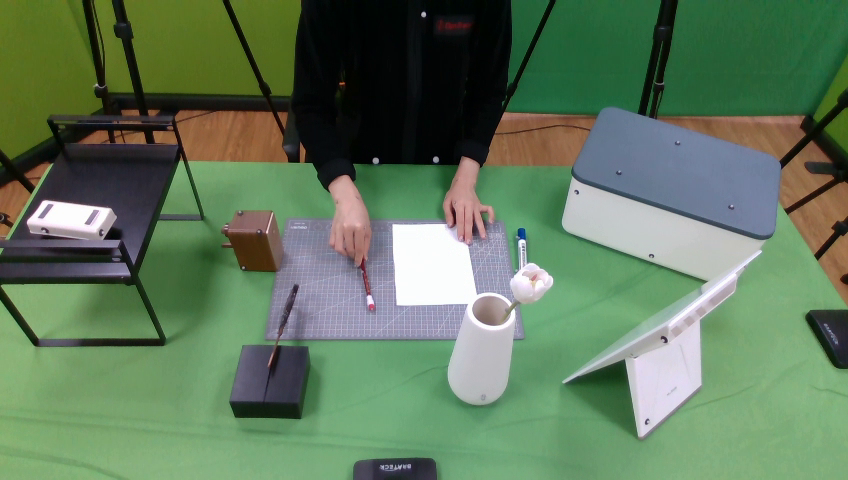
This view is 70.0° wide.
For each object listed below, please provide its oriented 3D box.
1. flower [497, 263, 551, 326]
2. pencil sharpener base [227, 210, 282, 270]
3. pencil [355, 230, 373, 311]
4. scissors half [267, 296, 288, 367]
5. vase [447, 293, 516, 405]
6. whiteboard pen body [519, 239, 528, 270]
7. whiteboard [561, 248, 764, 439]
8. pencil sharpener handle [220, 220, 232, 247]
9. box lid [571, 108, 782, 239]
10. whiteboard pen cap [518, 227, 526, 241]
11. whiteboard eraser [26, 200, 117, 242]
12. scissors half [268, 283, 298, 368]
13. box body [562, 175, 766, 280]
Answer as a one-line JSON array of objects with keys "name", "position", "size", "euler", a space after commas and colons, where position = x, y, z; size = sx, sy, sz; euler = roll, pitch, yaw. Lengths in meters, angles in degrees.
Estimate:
[{"name": "flower", "position": [0.102, 0.121, 0.852], "size": [0.044, 0.363, 0.038], "euler": [-2, 64, -10]}, {"name": "pencil sharpener base", "position": [-0.311, 0.001, 1.112], "size": [0.077, 0.107, 0.061], "euler": [1, 47, 1]}, {"name": "pencil", "position": [-0.115, 0.052, 1.134], "size": [0.012, 0.012, 0.192], "euler": [-7, 51, -11]}, {"name": "scissors half", "position": [-0.239, 0.150, 0.997], "size": [0.013, 0.040, 0.174], "euler": [24, 24, -13]}, {"name": "vase", "position": [0.091, 0.169, 0.921], "size": [0.098, 0.201, 0.097], "euler": [3, 47, -3]}, {"name": "whiteboard pen body", "position": [0.193, 0.035, 1.181], "size": [0.017, 0.017, 0.140], "euler": [6, 48, 1]}, {"name": "whiteboard", "position": [0.386, 0.176, 0.905], "size": [0.217, 0.306, 0.143], "euler": [-26, 72, -27]}, {"name": "pencil sharpener handle", "position": [-0.362, -0.009, 1.105], "size": [0.030, 0.068, 0.036], "euler": [1, 52, 1]}, {"name": "box lid", "position": [0.491, -0.139, 1.168], "size": [0.370, 0.015, 0.262], "euler": [21, 49, 15]}, {"name": "whiteboard pen cap", "position": [0.197, -0.009, 1.220], "size": [0.018, 0.018, 0.033], "euler": [5, 50, 1]}, {"name": "whiteboard eraser", "position": [-0.532, -0.026, 0.919], "size": [0.113, 0.042, 0.055], "euler": [7, 45, 3]}, {"name": "scissors half", "position": [-0.230, 0.135, 0.986], "size": [0.013, 0.040, 0.174], "euler": [19, 43, -11]}, {"name": "box body", "position": [0.486, -0.088, 1.222], "size": [0.363, 0.161, 0.253], "euler": [20, 48, 15]}]
